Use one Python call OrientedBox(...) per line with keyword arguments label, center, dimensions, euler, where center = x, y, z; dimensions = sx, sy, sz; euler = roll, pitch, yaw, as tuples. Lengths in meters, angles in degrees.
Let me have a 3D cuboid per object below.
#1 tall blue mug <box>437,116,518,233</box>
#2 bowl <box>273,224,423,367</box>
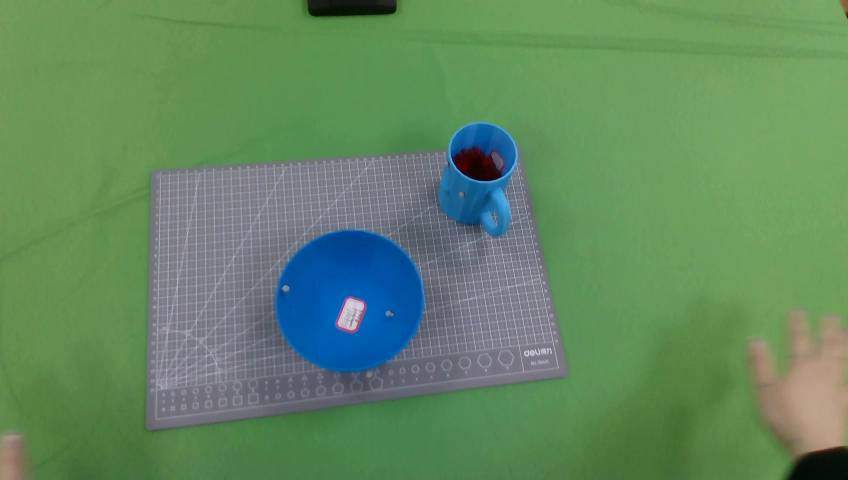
OrientedBox(label="tall blue mug", center=(0.070, -0.070, 0.692), dimensions=(0.107, 0.108, 0.077), euler=(38, 70, 9))
OrientedBox(label="bowl", center=(-0.078, 0.066, 0.644), dimensions=(0.151, 0.077, 0.150), euler=(2, 70, -5))
